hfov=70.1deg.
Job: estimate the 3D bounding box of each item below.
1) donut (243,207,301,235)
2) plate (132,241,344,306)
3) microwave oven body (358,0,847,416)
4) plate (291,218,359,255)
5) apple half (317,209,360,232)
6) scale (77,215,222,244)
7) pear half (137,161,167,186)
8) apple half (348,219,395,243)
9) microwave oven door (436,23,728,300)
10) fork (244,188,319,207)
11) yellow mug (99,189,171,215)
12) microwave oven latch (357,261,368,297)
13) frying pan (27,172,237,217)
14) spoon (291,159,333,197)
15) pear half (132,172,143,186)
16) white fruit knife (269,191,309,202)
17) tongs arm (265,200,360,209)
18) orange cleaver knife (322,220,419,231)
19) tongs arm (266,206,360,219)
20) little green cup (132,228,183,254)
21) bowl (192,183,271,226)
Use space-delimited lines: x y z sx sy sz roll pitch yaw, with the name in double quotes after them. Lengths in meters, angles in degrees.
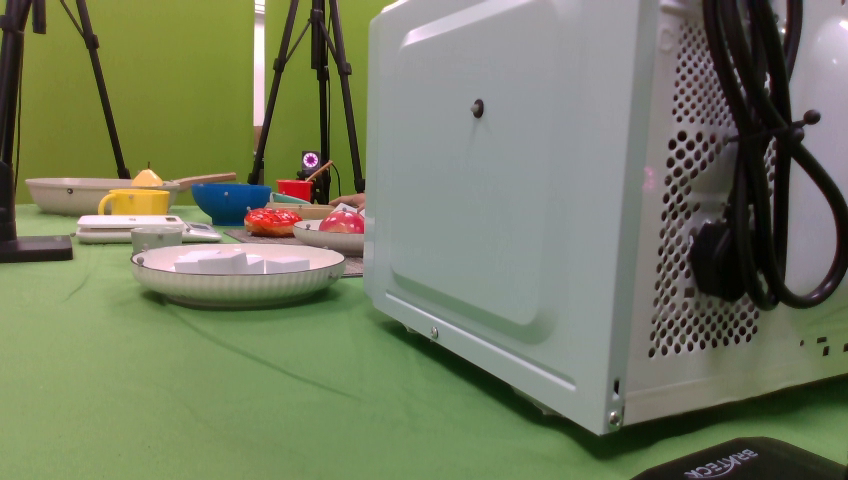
-0.261 -0.032 1.043 0.099 0.048 0.099 4 9 0 "donut"
-0.187 0.033 0.625 0.208 0.039 0.207 2 8 0 "plate"
0.211 -0.047 0.474 0.444 0.260 0.324 -1 7 -28 "microwave oven body"
-0.098 -0.007 0.928 0.209 0.038 0.209 2 8 0 "plate"
-0.122 -0.020 0.900 0.080 0.053 0.075 3 10 14 "apple half"
-0.434 -0.019 0.963 0.202 0.031 0.148 -1 9 -27 "scale"
-0.602 -0.120 1.354 0.056 0.110 0.076 4 11 6 "pear half"
-0.083 -0.018 0.967 0.081 0.033 0.081 5 10 -1 "apple half"
0.180 -0.072 0.621 0.358 0.243 0.039 -2 9 -29 "microwave oven door"
-0.356 -0.105 1.526 0.208 0.018 0.028 16 -5 -41 "fork"
-0.518 -0.055 1.080 0.099 0.064 0.131 7 9 26 "yellow mug"
-0.019 0.033 0.531 0.079 0.029 0.030 -1 7 -27 "microwave oven latch"
-0.624 -0.118 1.387 0.305 0.102 0.490 8 17 32 "frying pan"
-0.316 -0.159 1.640 0.194 0.022 0.041 -50 32 -20 "spoon"
-0.638 -0.113 1.361 0.031 0.088 0.070 5 10 4 "pear half"
-0.364 -0.105 1.464 0.208 0.027 0.016 15 0 -34 "white fruit knife"
-0.205 -0.072 1.423 0.389 0.028 0.028 2 4 -22 "tongs arm"
-0.097 -0.027 1.153 0.077 0.012 0.212 3 7 41 "orange cleaver knife"
-0.173 -0.060 1.362 0.387 0.026 0.050 0 8 -31 "tongs arm"
-0.342 0.006 0.779 0.061 0.038 0.061 2 8 0 "little green cup"
-0.382 -0.071 1.202 0.151 0.077 0.151 3 7 0 "bowl"
